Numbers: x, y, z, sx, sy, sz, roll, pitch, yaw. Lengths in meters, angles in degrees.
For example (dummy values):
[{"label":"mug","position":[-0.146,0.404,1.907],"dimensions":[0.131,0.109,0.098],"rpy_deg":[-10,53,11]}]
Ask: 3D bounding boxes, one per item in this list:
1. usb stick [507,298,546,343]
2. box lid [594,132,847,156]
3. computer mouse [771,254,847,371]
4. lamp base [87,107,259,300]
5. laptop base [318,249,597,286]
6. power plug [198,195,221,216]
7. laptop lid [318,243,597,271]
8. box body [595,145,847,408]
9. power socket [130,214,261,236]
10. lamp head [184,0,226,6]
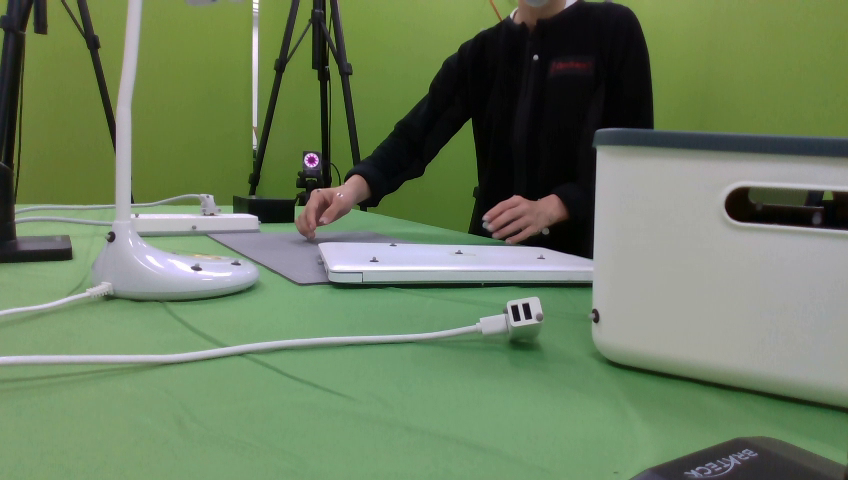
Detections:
[{"label":"usb stick","position":[0.079,0.065,0.470],"dimensions":[0.027,0.021,0.059],"rpy_deg":[-12,-24,4]},{"label":"box lid","position":[0.311,-0.066,0.499],"dimensions":[0.262,0.015,0.373],"rpy_deg":[7,8,29]},{"label":"computer mouse","position":[0.344,0.057,0.518],"dimensions":[0.063,0.041,0.117],"rpy_deg":[12,48,3]},{"label":"lamp base","position":[-0.254,-0.039,0.603],"dimensions":[0.160,0.180,0.179],"rpy_deg":[5,10,18]},{"label":"laptop base","position":[0.046,0.034,0.789],"dimensions":[0.355,0.023,0.235],"rpy_deg":[1,5,-14]},{"label":"power plug","position":[-0.385,-0.055,1.088],"dimensions":[0.035,0.052,0.072],"rpy_deg":[-1,6,-24]},{"label":"laptop lid","position":[0.046,0.022,0.789],"dimensions":[0.358,0.013,0.241],"rpy_deg":[1,6,-12]},{"label":"box body","position":[0.309,0.007,0.510],"dimensions":[0.253,0.160,0.366],"rpy_deg":[6,8,29]},{"label":"power socket","position":[-0.397,-0.028,1.048],"dimensions":[0.228,0.032,0.072],"rpy_deg":[-3,7,-35]},{"label":"lamp head","position":[-0.229,-0.320,0.627],"dimensions":[0.112,0.112,0.123],"rpy_deg":[6,-35,26]}]
